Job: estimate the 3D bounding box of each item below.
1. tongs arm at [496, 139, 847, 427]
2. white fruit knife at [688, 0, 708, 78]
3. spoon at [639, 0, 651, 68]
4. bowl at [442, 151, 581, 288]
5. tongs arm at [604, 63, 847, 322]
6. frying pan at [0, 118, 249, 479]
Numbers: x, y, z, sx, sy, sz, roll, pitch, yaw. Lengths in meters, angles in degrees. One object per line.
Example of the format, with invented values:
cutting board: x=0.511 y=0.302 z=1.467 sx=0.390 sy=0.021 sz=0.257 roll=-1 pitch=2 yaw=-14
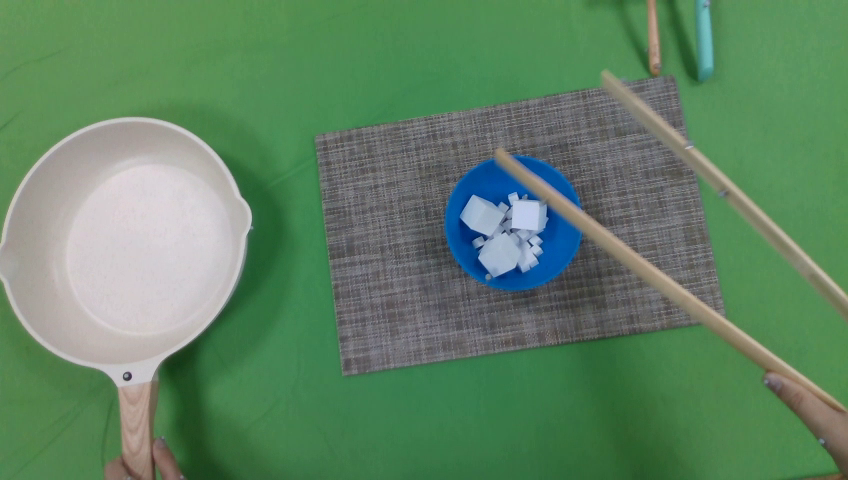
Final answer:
tongs arm: x=0.203 y=0.025 z=0.505 sx=0.028 sy=0.028 sz=0.384 roll=-41 pitch=65 yaw=-16
white fruit knife: x=0.319 y=-0.300 z=0.718 sx=0.016 sy=0.027 sz=0.207 roll=-8 pitch=96 yaw=-2
spoon: x=0.262 y=-0.304 z=0.716 sx=0.041 sy=0.021 sz=0.194 roll=3 pitch=103 yaw=27
bowl: x=0.097 y=-0.017 z=0.690 sx=0.151 sy=0.077 sz=0.151 roll=-1 pitch=82 yaw=4
tongs arm: x=0.262 y=-0.018 z=0.515 sx=0.051 sy=0.027 sz=0.381 roll=-32 pitch=64 yaw=-8
frying pan: x=-0.331 y=0.101 z=0.694 sx=0.307 sy=0.103 sz=0.484 roll=-10 pitch=73 yaw=3
